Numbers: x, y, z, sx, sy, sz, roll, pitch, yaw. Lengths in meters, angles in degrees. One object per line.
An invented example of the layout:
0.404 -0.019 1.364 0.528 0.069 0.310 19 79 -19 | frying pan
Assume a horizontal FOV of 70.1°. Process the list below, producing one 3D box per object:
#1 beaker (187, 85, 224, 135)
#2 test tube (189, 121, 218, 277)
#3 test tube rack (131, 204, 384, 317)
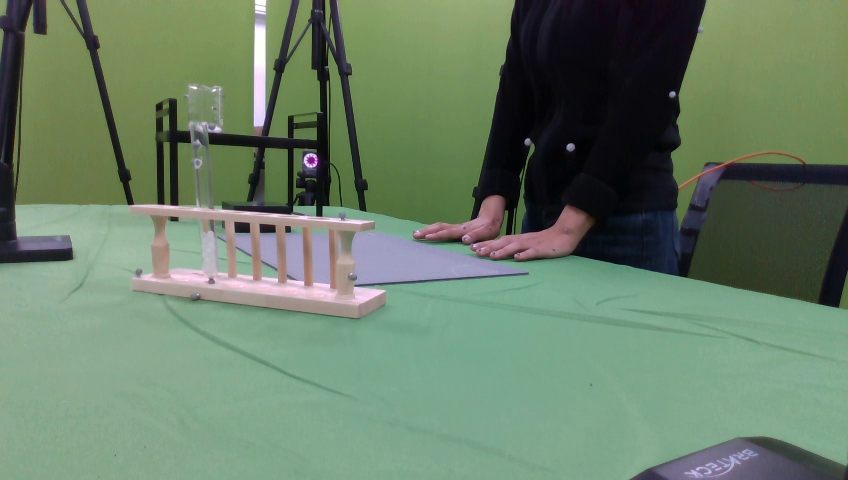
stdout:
-0.466 -0.276 1.296 0.074 0.100 0.083 -3 10 -35 | beaker
-0.210 -0.037 0.576 0.017 0.150 0.017 0 14 0 | test tube
-0.162 0.013 0.589 0.242 0.085 0.067 5 8 17 | test tube rack
